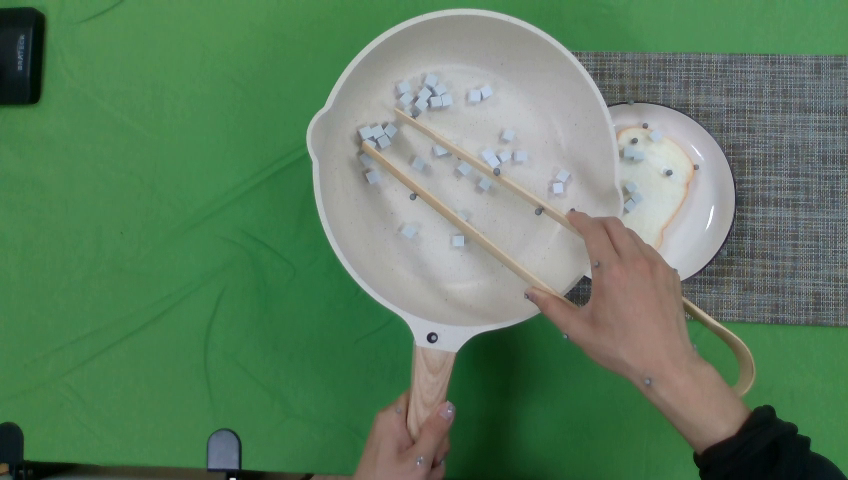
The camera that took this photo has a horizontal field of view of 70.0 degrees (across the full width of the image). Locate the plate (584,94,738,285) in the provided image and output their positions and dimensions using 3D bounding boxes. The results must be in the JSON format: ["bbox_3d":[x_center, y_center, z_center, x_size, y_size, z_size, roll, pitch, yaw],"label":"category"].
[{"bbox_3d":[0.231,-0.053,0.666,0.207,0.039,0.207,0,86,5],"label":"plate"}]

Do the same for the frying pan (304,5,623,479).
[{"bbox_3d":[0.020,0.036,0.565,0.308,0.102,0.486,12,83,-13],"label":"frying pan"}]

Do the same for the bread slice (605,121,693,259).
[{"bbox_3d":[0.228,-0.061,0.669,0.107,0.018,0.134,26,91,5],"label":"bread slice"}]

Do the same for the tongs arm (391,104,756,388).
[{"bbox_3d":[0.116,-0.003,0.531,0.383,0.026,0.050,33,81,11],"label":"tongs arm"}]

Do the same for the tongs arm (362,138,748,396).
[{"bbox_3d":[0.098,0.019,0.527,0.386,0.028,0.028,36,78,11],"label":"tongs arm"}]
